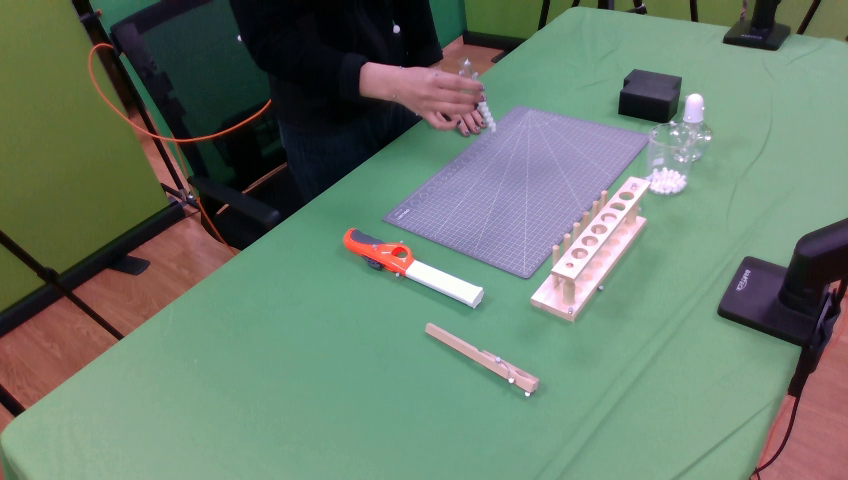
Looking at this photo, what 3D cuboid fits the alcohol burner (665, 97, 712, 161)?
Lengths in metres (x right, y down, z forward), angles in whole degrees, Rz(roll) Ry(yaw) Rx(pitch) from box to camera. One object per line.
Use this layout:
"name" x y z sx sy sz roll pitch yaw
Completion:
"alcohol burner" 0.465 -0.198 1.057 0.078 0.119 0.077 -4 41 4

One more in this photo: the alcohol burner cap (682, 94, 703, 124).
"alcohol burner cap" 0.460 -0.225 1.033 0.034 0.048 0.033 -8 35 6

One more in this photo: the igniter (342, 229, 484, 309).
"igniter" -0.027 0.039 0.936 0.274 0.025 0.057 23 59 32

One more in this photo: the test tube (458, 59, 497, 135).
"test tube" 0.090 -0.230 0.987 0.017 0.151 0.017 -17 44 18

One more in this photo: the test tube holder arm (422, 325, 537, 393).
"test tube holder arm" 0.068 0.152 0.789 0.177 0.015 0.013 23 15 32

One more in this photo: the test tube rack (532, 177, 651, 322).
"test tube rack" 0.247 0.002 0.883 0.066 0.085 0.243 22 49 32

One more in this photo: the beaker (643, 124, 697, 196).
"beaker" 0.407 -0.132 1.001 0.084 0.101 0.073 -20 42 -13

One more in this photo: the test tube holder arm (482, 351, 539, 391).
"test tube holder arm" 0.106 0.166 0.769 0.087 0.015 0.010 24 15 34
